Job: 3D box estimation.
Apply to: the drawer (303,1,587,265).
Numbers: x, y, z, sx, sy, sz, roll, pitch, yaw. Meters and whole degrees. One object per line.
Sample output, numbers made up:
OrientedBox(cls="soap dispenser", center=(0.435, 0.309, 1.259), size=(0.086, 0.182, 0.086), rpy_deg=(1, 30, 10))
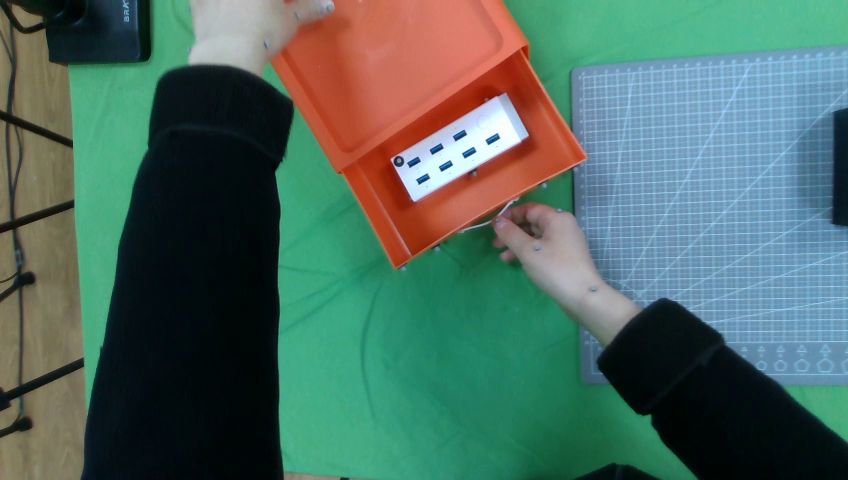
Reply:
OrientedBox(cls="drawer", center=(0.009, -0.114, 0.549), size=(0.194, 0.073, 0.211), rpy_deg=(-29, 90, 12))

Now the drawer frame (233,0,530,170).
OrientedBox(cls="drawer frame", center=(-0.044, -0.202, 0.547), size=(0.201, 0.083, 0.213), rpy_deg=(-32, 89, 12))

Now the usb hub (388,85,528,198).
OrientedBox(cls="usb hub", center=(0.031, -0.091, 0.568), size=(0.125, 0.025, 0.049), rpy_deg=(-29, 88, 11))
